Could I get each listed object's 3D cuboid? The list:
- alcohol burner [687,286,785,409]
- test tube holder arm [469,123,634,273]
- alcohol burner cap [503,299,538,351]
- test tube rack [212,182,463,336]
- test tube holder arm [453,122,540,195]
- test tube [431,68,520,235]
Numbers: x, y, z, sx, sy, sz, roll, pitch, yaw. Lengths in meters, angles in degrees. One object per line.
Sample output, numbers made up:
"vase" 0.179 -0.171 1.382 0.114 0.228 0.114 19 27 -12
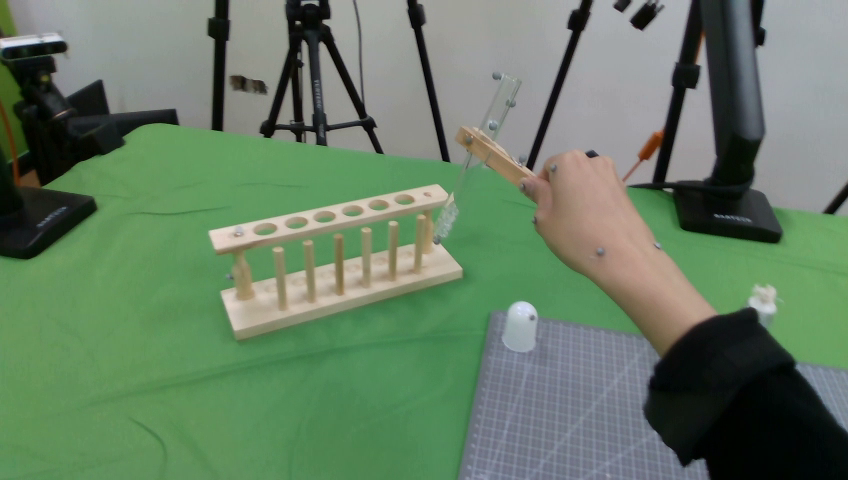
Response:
"alcohol burner" 0.267 0.084 0.509 0.078 0.120 0.077 3 36 -1
"test tube holder arm" 0.088 -0.037 0.454 0.013 0.015 0.176 -7 43 -44
"alcohol burner cap" 0.093 0.077 0.570 0.034 0.048 0.033 2 35 -1
"test tube rack" -0.079 0.014 0.616 0.243 0.086 0.066 -14 37 -23
"test tube holder arm" 0.057 -0.064 0.472 0.087 0.015 0.010 42 33 25
"test tube" 0.039 -0.067 0.493 0.017 0.151 0.017 20 27 -10
